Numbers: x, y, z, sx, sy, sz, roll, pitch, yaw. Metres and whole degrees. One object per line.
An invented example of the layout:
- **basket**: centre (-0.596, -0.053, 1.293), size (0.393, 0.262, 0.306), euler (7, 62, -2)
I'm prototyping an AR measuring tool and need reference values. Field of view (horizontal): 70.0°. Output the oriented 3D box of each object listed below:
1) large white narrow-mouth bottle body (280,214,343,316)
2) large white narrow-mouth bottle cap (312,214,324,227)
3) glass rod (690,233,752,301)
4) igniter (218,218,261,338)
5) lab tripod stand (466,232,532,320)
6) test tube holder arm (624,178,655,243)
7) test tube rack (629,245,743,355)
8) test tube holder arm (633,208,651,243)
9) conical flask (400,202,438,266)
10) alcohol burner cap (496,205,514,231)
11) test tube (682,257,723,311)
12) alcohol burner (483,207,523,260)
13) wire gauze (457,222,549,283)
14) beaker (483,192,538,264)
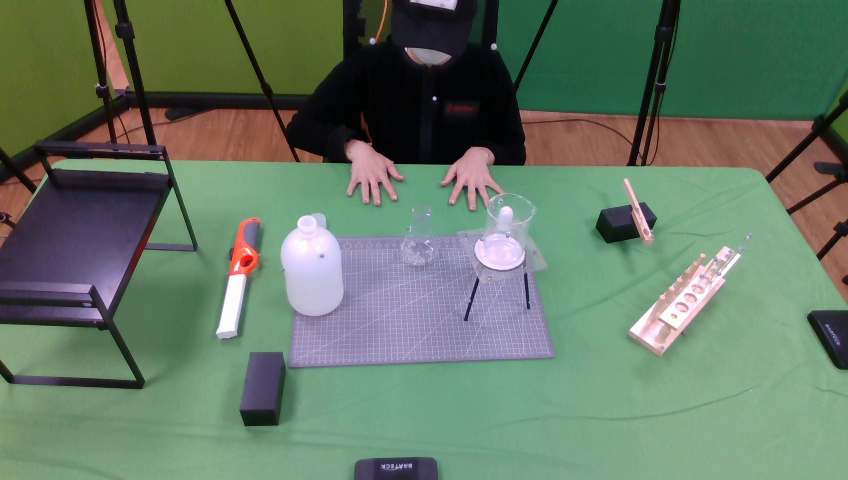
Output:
- **large white narrow-mouth bottle body**: centre (-0.190, 0.035, 1.025), size (0.102, 0.195, 0.101), euler (2, 46, -2)
- **large white narrow-mouth bottle cap**: centre (-0.219, -0.033, 1.214), size (0.038, 0.024, 0.037), euler (2, 46, -2)
- **glass rod**: centre (0.507, 0.053, 1.041), size (0.008, 0.200, 0.008), euler (5, 50, -6)
- **igniter**: centre (-0.337, 0.060, 1.111), size (0.057, 0.025, 0.274), euler (-7, 46, 4)
- **lab tripod stand**: centre (0.125, 0.059, 1.065), size (0.148, 0.132, 0.147), euler (1, 45, 0)
- **test tube holder arm**: centre (0.432, -0.062, 1.220), size (0.013, 0.015, 0.177), euler (0, 47, -3)
- **test tube rack**: centre (0.474, 0.095, 1.091), size (0.242, 0.085, 0.066), euler (-34, 56, -31)
- **test tube holder arm**: centre (0.428, -0.030, 1.189), size (0.010, 0.015, 0.087), euler (1, 47, -2)
- **conical flask**: centre (-0.007, -0.014, 1.135), size (0.075, 0.122, 0.075), euler (2, 46, -2)
- **alcohol burner cap**: centre (0.153, -0.045, 1.131), size (0.034, 0.048, 0.033), euler (2, 40, -1)
- **test tube**: centre (0.474, 0.080, 1.037), size (0.017, 0.151, 0.017), euler (1, 50, -1)
- **alcohol burner**: centre (0.152, -0.018, 1.156), size (0.078, 0.120, 0.077), euler (0, 47, 0)
- **wire gauze**: centre (0.131, 0.016, 1.017), size (0.121, 0.011, 0.124), euler (-10, 44, -15)
- **beaker**: centre (0.136, -0.017, 0.980), size (0.084, 0.101, 0.073), euler (-6, 45, -9)
